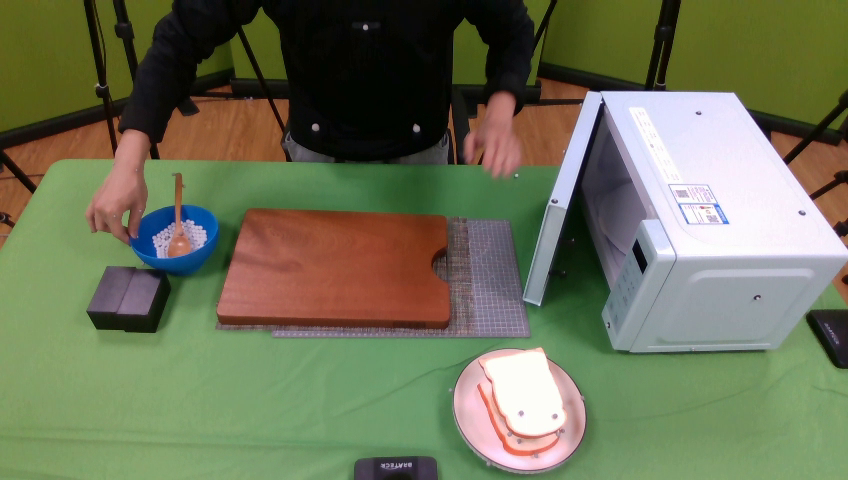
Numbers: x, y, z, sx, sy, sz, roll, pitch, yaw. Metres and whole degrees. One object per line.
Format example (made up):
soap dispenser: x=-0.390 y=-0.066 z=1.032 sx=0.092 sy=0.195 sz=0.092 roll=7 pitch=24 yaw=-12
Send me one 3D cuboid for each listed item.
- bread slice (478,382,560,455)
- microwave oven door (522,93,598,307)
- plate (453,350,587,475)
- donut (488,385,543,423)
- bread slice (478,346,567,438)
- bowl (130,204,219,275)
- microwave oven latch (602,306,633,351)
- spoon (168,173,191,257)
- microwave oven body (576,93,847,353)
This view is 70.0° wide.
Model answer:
bread slice: x=0.154 y=0.268 z=0.944 sx=0.105 sy=0.019 sz=0.130 roll=-10 pitch=47 yaw=-12
microwave oven door: x=0.259 y=-0.084 z=1.127 sx=0.039 sy=0.245 sz=0.354 roll=17 pitch=47 yaw=12
plate: x=0.146 y=0.267 z=0.943 sx=0.208 sy=0.039 sz=0.206 roll=2 pitch=46 yaw=-2
donut: x=0.147 y=0.242 z=0.927 sx=0.099 sy=0.048 sz=0.098 roll=-1 pitch=42 yaw=1
bread slice: x=0.152 y=0.226 z=0.901 sx=0.107 sy=0.018 sz=0.133 roll=-11 pitch=54 yaw=-16
bowl: x=-0.449 y=0.011 z=1.113 sx=0.151 sy=0.077 sz=0.150 roll=2 pitch=41 yaw=-2
microwave oven latch: x=0.332 y=0.153 z=1.044 sx=0.030 sy=0.029 sz=0.078 roll=0 pitch=45 yaw=-4
spoon: x=-0.456 y=-0.046 z=1.129 sx=0.041 sy=0.022 sz=0.192 roll=-10 pitch=67 yaw=1
microwave oven body: x=0.475 y=-0.042 z=1.109 sx=0.326 sy=0.261 sz=0.438 roll=-1 pitch=45 yaw=-4
